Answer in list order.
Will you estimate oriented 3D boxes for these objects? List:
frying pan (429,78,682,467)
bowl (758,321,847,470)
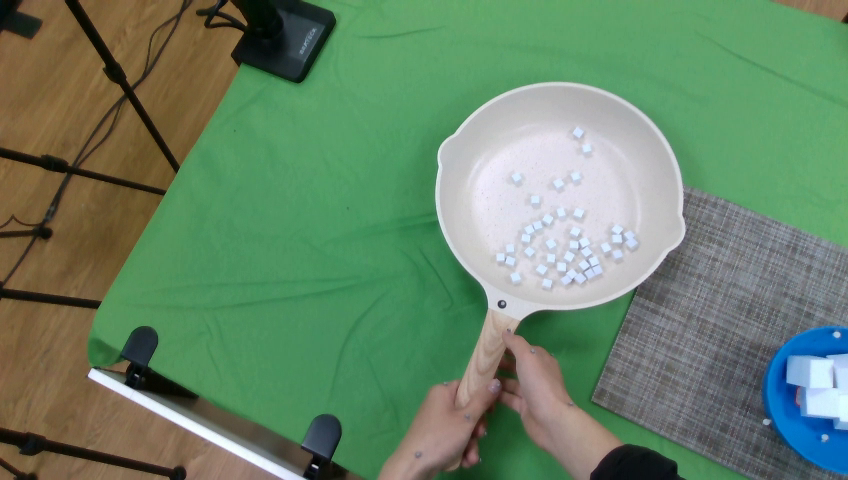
[{"bbox_3d":[0.114,0.030,0.717,0.305,0.103,0.486,23,70,12],"label":"frying pan"},{"bbox_3d":[0.430,0.167,0.655,0.151,0.077,0.150,-2,74,6],"label":"bowl"}]
